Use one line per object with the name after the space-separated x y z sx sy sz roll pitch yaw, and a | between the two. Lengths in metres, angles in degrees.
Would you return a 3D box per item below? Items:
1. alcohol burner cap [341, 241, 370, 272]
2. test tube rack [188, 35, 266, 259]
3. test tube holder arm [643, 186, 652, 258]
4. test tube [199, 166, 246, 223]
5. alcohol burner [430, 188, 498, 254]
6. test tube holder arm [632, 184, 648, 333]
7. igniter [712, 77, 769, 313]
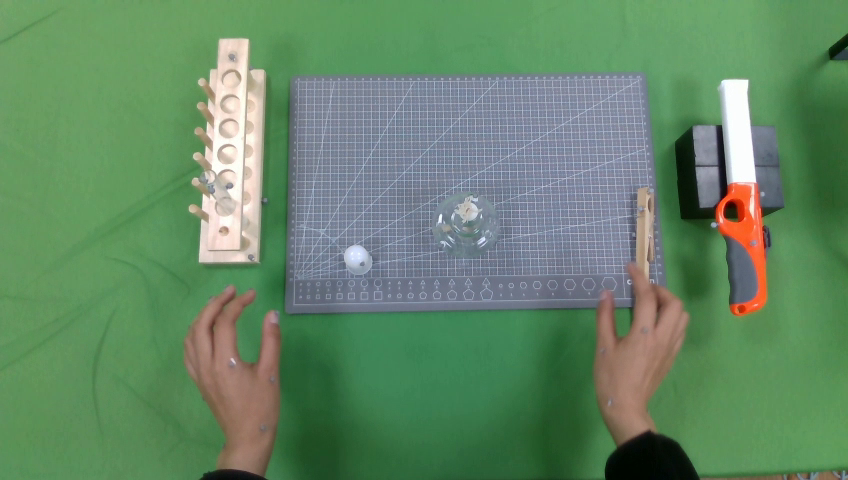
-0.080 0.016 0.697 0.034 0.048 0.033 0 78 -1 | alcohol burner cap
-0.230 -0.104 0.697 0.067 0.085 0.241 0 79 -1 | test tube rack
0.265 -0.022 0.726 0.010 0.015 0.087 14 76 -29 | test tube holder arm
-0.208 -0.044 0.636 0.017 0.150 0.017 1 76 -5 | test tube
0.045 -0.025 0.673 0.078 0.119 0.077 0 80 0 | alcohol burner
0.255 0.021 0.714 0.013 0.015 0.177 14 76 -29 | test tube holder arm
0.356 -0.055 0.688 0.057 0.025 0.275 1 78 5 | igniter
